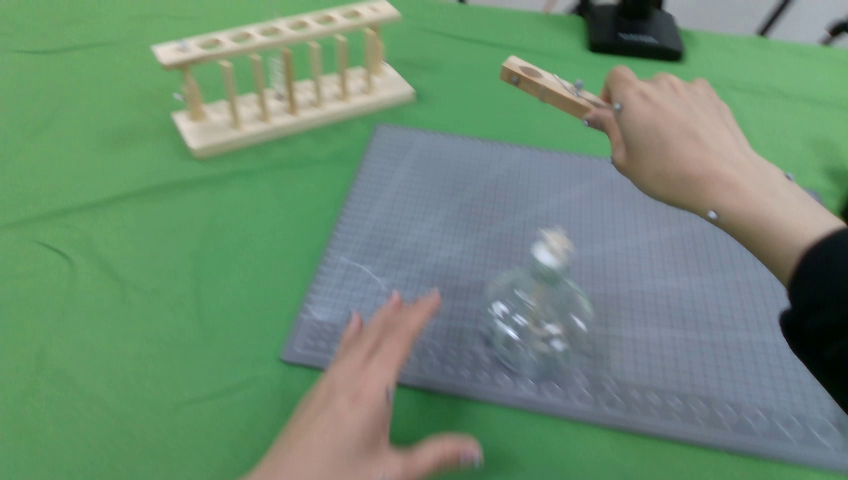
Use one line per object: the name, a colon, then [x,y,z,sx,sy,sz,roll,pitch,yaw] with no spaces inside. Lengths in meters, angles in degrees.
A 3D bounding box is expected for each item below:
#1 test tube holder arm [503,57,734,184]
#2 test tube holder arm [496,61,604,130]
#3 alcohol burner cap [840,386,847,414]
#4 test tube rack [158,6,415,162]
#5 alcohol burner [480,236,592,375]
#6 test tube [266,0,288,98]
test tube holder arm: [0.131,-0.087,0.428,0.177,0.015,0.013,31,61,17]
test tube holder arm: [0.091,-0.105,0.438,0.087,0.015,0.010,31,61,17]
alcohol burner cap: [0.317,0.104,0.420,0.034,0.048,0.033,3,45,-3]
test tube rack: [-0.128,-0.164,0.618,0.243,0.086,0.066,-21,51,-23]
alcohol burner: [0.079,0.040,0.413,0.078,0.120,0.077,1,48,-1]
test tube: [-0.144,-0.206,0.589,0.017,0.151,0.017,4,43,-4]
